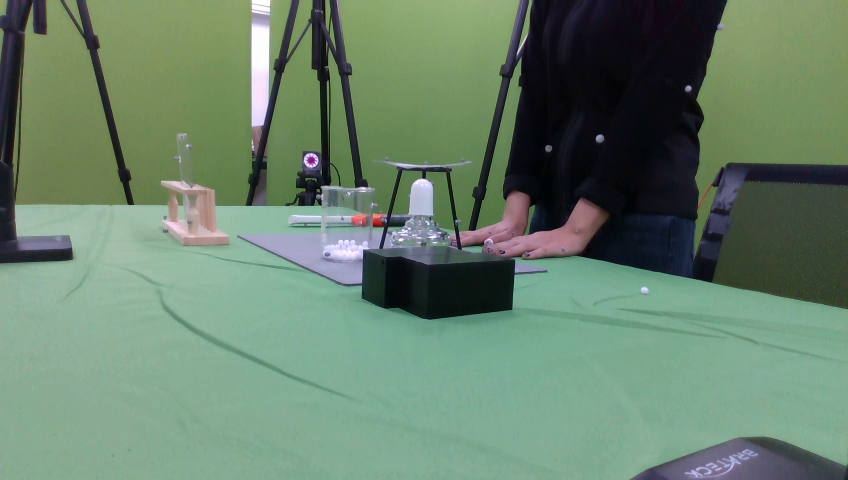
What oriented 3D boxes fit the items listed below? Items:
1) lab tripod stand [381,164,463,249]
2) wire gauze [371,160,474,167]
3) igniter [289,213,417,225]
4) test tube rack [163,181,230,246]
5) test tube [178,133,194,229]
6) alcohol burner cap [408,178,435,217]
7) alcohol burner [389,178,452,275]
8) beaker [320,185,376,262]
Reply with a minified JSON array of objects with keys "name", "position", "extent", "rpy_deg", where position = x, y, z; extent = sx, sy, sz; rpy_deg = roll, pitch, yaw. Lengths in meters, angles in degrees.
[{"name":"lab tripod stand","position":[-0.003,-0.055,0.967],"extent":[0.148,0.131,0.148],"rpy_deg":[2,9,0]},{"name":"wire gauze","position":[-0.004,-0.122,0.959],"extent":[0.122,0.011,0.124],"rpy_deg":[-4,9,-33]},{"name":"igniter","position":[-0.144,-0.044,1.275],"extent":[0.278,0.025,0.057],"rpy_deg":[-1,-2,-27]},{"name":"test tube rack","position":[-0.387,-0.050,1.015],"extent":[0.067,0.085,0.241],"rpy_deg":[-2,9,-30]},{"name":"test tube","position":[-0.367,-0.089,0.939],"extent":[0.017,0.150,0.017],"rpy_deg":[-2,8,1]},{"name":"alcohol burner cap","position":[-0.002,-0.053,0.746],"extent":[0.034,0.048,0.034],"rpy_deg":[2,3,0]},{"name":"alcohol burner","position":[-0.004,-0.017,0.749],"extent":[0.078,0.119,0.078],"rpy_deg":[1,9,0]},{"name":"beaker","position":[-0.105,-0.024,0.826],"extent":[0.074,0.100,0.084],"rpy_deg":[2,7,-7]}]
